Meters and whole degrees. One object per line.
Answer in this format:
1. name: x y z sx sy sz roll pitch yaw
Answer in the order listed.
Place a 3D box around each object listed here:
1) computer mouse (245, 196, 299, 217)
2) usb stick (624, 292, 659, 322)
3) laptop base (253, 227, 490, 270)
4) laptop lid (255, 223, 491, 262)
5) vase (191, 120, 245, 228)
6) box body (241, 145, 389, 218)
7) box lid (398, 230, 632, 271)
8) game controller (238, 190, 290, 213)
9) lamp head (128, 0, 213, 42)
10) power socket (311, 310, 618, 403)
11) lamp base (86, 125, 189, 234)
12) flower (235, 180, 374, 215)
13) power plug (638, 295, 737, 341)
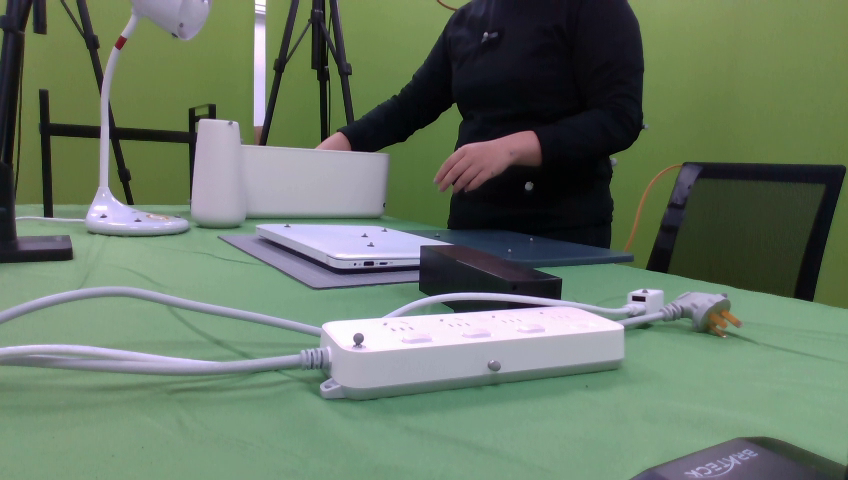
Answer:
1. computer mouse: -0.345 -0.077 1.371 0.118 0.041 0.062 -12 17 -32
2. usb stick: 0.211 0.064 0.580 0.021 0.027 0.059 -2 -4 36
3. laptop base: -0.096 0.012 0.911 0.237 0.023 0.352 2 6 -32
4. laptop lid: -0.093 0.000 0.911 0.243 0.013 0.355 1 7 -30
5. vase: -0.389 -0.124 1.142 0.098 0.200 0.098 3 9 0
6. box body: -0.297 -0.143 1.474 0.366 0.160 0.253 -1 9 -30
7. box lid: 0.140 0.013 1.045 0.265 0.015 0.369 -1 8 -32
8. game controller: -0.391 -0.094 1.465 0.097 0.051 0.154 -3 8 -29
9. lamp head: -0.423 -0.394 0.980 0.123 0.112 0.112 20 7 -3
10. power socket: 0.034 0.074 0.415 0.228 0.032 0.072 -1 7 -24
11. lamp base: -0.497 -0.105 1.027 0.179 0.180 0.160 1 7 2
12. flower: -0.266 -0.089 1.418 0.364 0.038 0.044 10 -41 -40
13. power plug: 0.235 0.077 0.535 0.072 0.035 0.052 -34 40 -6
